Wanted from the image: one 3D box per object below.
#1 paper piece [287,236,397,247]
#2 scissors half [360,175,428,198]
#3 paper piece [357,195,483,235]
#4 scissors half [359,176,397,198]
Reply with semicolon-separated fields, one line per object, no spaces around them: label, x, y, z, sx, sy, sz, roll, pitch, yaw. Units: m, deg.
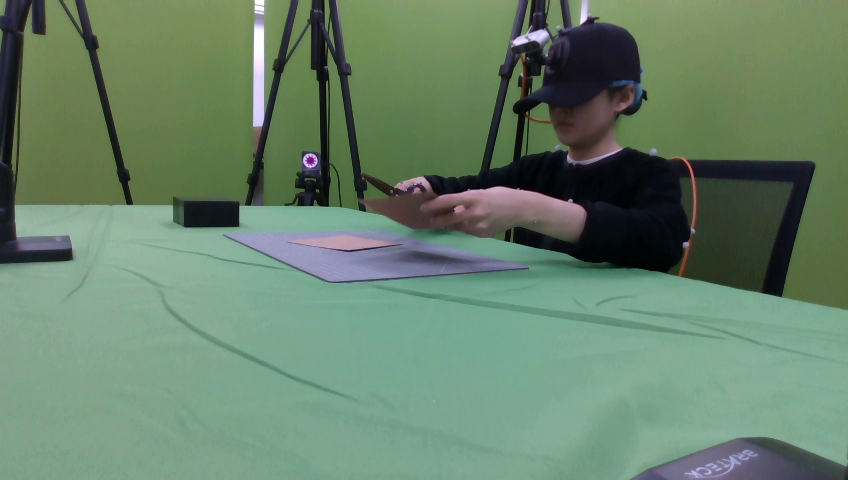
paper piece;-0.130;0.004;0.986;0.137;0.008;0.137;7;4;35
scissors half;-0.046;-0.082;0.990;0.012;0.040;0.176;34;13;36
paper piece;-0.006;-0.035;0.875;0.135;0.004;0.136;-2;-22;37
scissors half;-0.056;-0.065;0.991;0.013;0.040;0.176;27;-6;37
